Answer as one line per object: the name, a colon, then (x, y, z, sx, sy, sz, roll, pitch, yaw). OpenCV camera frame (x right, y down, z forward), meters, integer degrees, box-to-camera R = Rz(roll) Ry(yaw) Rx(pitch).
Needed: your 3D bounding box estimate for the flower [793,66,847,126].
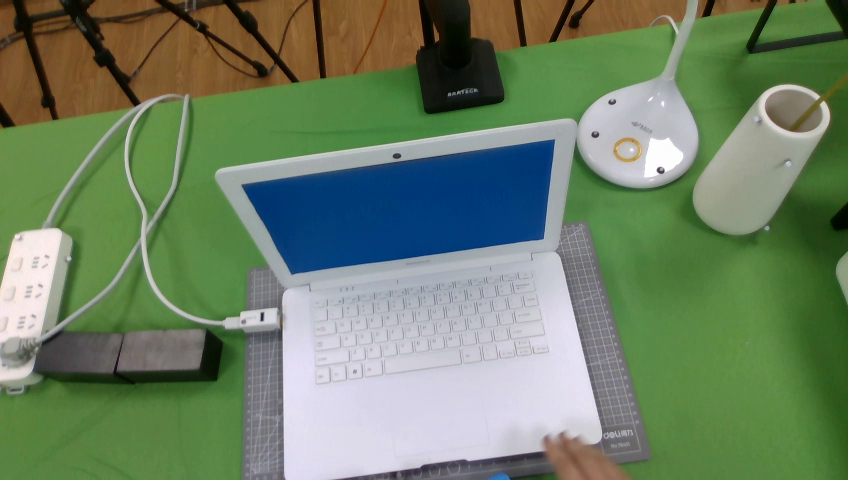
flower: (0.391, -0.131, 0.623, 0.038, 0.364, 0.043, 7, 54, -10)

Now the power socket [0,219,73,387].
power socket: (-0.511, 0.073, 0.781, 0.072, 0.033, 0.224, -5, 63, 2)

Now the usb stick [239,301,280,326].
usb stick: (-0.194, 0.090, 0.740, 0.059, 0.027, 0.021, -4, 63, -3)

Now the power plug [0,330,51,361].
power plug: (-0.477, 0.130, 0.729, 0.072, 0.053, 0.035, 6, 64, 6)

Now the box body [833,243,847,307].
box body: (0.612, 0.125, 0.592, 0.254, 0.162, 0.361, -6, 64, 2)

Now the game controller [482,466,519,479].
game controller: (0.046, 0.299, 0.620, 0.155, 0.052, 0.096, -21, 61, -6)

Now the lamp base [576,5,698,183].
lamp base: (0.288, -0.192, 0.763, 0.160, 0.182, 0.178, 23, 65, 15)

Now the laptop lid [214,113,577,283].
laptop lid: (-0.018, -0.033, 0.668, 0.357, 0.244, 0.013, -9, 57, 2)

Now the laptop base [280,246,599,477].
laptop base: (0.007, 0.136, 0.717, 0.354, 0.023, 0.233, -8, 67, 1)

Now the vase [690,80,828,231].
vase: (0.378, -0.092, 0.696, 0.098, 0.202, 0.097, -3, 62, 5)
